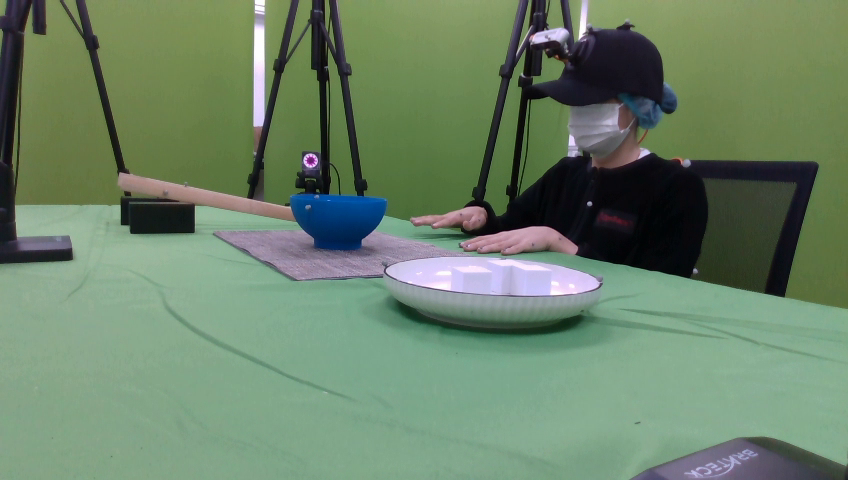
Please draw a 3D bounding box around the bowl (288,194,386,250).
[{"bbox_3d":[-0.135,-0.028,0.936,0.151,0.077,0.151,3,7,0],"label":"bowl"}]

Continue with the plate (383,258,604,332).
[{"bbox_3d":[0.064,0.051,0.582,0.209,0.038,0.209,3,7,0],"label":"plate"}]

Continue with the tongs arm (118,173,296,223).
[{"bbox_3d":[-0.347,-0.066,1.103,0.390,0.027,0.028,12,-4,-38],"label":"tongs arm"}]

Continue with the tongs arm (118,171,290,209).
[{"bbox_3d":[-0.387,-0.077,1.181,0.387,0.026,0.050,12,-1,-23],"label":"tongs arm"}]
